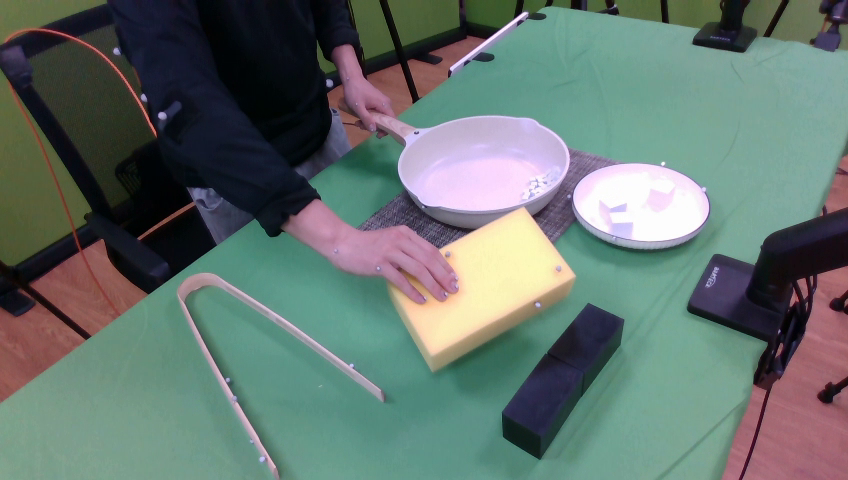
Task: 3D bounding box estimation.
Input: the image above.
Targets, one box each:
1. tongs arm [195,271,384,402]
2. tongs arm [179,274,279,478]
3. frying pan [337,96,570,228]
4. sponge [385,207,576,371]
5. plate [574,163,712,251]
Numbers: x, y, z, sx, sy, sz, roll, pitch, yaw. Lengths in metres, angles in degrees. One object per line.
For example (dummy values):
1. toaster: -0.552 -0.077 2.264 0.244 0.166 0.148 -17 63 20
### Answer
1. tongs arm: -0.199 0.125 0.846 0.384 0.028 0.028 25 53 32
2. tongs arm: -0.260 0.161 0.807 0.051 0.026 0.381 -29 44 -25
3. frying pan: 0.023 -0.167 1.090 0.484 0.103 0.308 32 52 26
4. sponge: 0.069 0.058 0.756 0.207 0.061 0.117 -27 65 -15
5. plate: 0.344 -0.050 0.966 0.207 0.039 0.206 -4 40 4
